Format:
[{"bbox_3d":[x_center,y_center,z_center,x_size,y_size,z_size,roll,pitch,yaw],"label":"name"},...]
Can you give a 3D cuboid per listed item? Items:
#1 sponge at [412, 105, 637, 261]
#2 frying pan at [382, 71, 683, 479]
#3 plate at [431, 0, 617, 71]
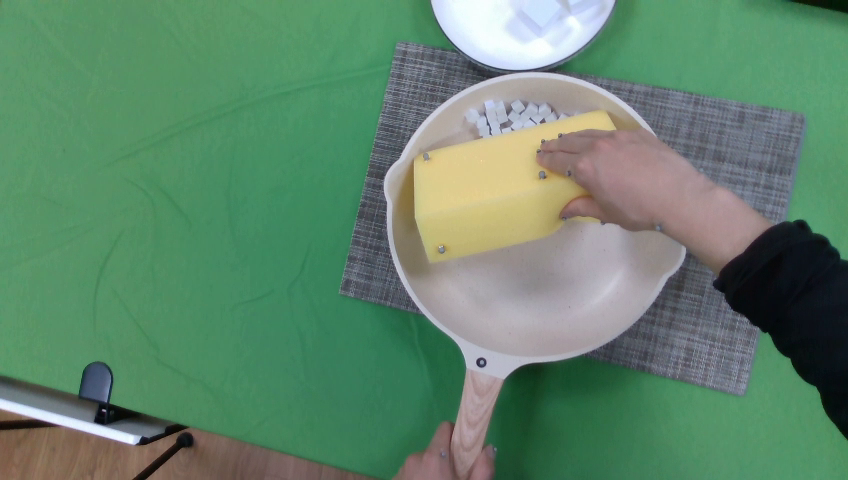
[{"bbox_3d":[0.094,-0.059,0.610,0.207,0.117,0.061,-14,127,7],"label":"sponge"},{"bbox_3d":[0.077,0.074,0.620,0.306,0.103,0.486,16,81,9],"label":"frying pan"},{"bbox_3d":[0.110,-0.286,0.670,0.207,0.039,0.207,0,87,8],"label":"plate"}]
